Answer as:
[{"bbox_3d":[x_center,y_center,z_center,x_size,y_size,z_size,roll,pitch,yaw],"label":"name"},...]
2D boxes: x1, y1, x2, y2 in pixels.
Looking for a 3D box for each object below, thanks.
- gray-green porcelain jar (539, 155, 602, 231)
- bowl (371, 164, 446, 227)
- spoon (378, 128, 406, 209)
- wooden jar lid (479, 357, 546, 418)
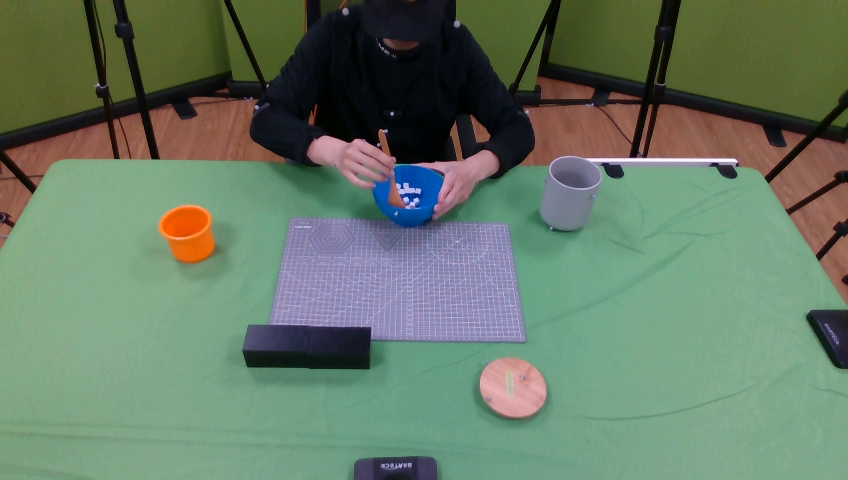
[{"bbox_3d":[0.294,-0.091,1.235,0.106,0.127,0.105,2,46,-2],"label":"gray-green porcelain jar"},{"bbox_3d":[-0.032,-0.079,1.230,0.151,0.077,0.150,3,43,-2],"label":"bowl"},{"bbox_3d":[-0.064,-0.123,1.138,0.041,0.195,0.021,9,38,26],"label":"spoon"},{"bbox_3d":[0.142,0.240,0.979,0.108,0.021,0.107,1,46,-1],"label":"wooden jar lid"}]
